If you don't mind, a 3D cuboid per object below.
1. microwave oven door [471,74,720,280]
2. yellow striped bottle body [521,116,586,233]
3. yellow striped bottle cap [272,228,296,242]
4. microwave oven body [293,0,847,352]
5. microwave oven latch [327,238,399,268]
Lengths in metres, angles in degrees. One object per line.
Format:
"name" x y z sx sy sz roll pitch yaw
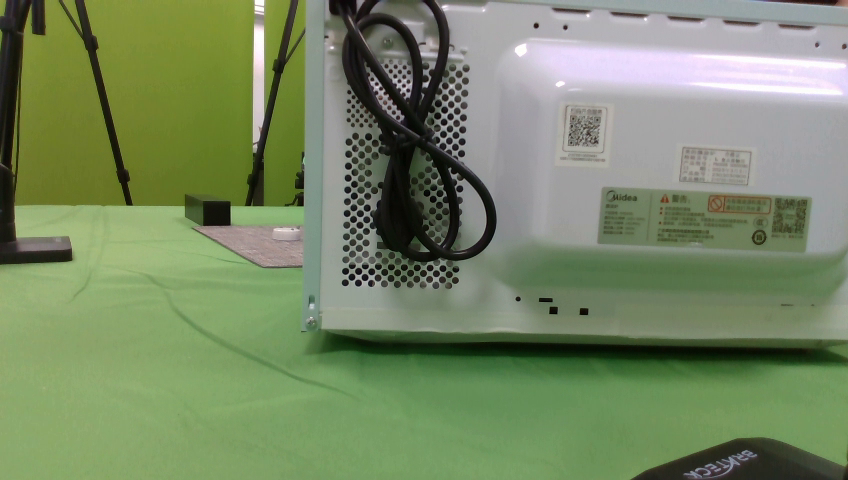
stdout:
"microwave oven door" 0.211 -0.092 0.834 0.039 0.243 0.354 -4 10 -43
"yellow striped bottle body" 0.138 -0.069 0.644 0.063 0.120 0.063 3 2 0
"yellow striped bottle cap" -0.232 -0.008 1.011 0.044 0.018 0.044 4 8 0
"microwave oven body" 0.122 -0.055 0.550 0.442 0.260 0.325 3 7 -5
"microwave oven latch" -0.069 0.015 0.694 0.079 0.029 0.030 3 7 -3
